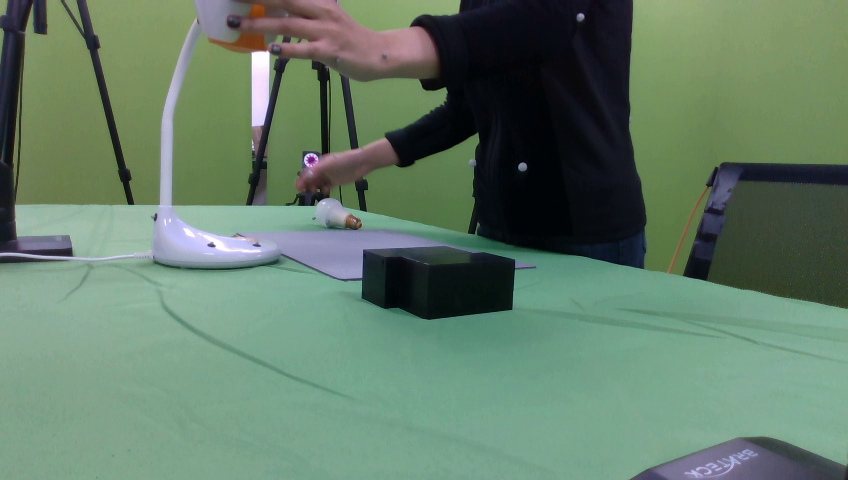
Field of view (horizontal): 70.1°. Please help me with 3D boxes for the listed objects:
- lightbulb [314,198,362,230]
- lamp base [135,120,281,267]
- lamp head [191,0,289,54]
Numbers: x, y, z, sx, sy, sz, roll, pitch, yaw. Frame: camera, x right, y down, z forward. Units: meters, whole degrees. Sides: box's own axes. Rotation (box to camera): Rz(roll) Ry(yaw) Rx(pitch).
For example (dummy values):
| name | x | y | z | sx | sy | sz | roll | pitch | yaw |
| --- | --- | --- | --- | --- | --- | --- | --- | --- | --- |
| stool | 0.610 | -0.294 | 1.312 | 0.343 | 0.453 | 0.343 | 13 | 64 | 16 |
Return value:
| name | x | y | z | sx | sy | sz | roll | pitch | yaw |
| --- | --- | --- | --- | --- | --- | --- | --- | --- | --- |
| lightbulb | -0.172 | -0.048 | 1.219 | 0.107 | 0.059 | 0.060 | 23 | 15 | 22 |
| lamp base | -0.276 | -0.061 | 0.773 | 0.180 | 0.180 | 0.160 | -9 | 13 | -44 |
| lamp head | -0.188 | -0.252 | 0.607 | 0.112 | 0.123 | 0.112 | 10 | 20 | -4 |
